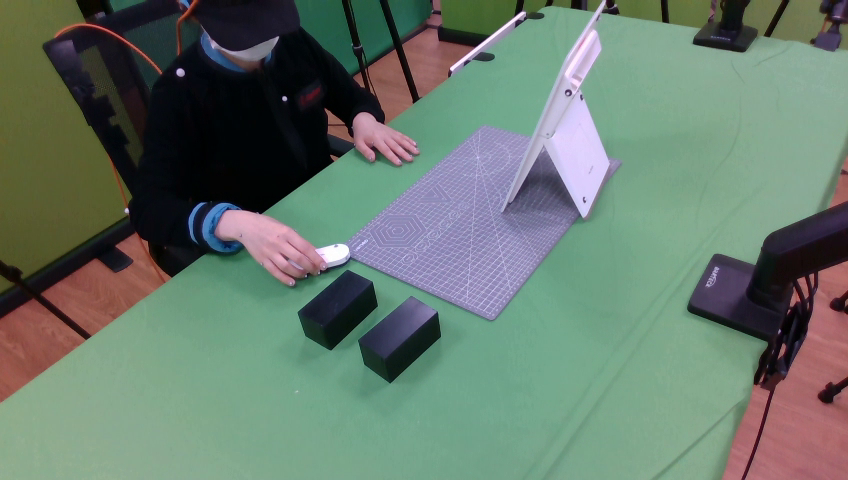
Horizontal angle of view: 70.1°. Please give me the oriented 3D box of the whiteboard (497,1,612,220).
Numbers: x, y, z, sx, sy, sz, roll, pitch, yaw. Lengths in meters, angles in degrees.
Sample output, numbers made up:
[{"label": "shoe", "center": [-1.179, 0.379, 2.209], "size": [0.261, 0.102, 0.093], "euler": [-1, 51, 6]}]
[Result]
[{"label": "whiteboard", "center": [0.260, -0.177, 0.963], "size": [0.143, 0.306, 0.217], "euler": [28, 49, 9]}]

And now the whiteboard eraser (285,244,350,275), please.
[{"label": "whiteboard eraser", "center": [-0.168, 0.030, 0.956], "size": [0.101, 0.019, 0.041], "euler": [-14, 37, -7]}]
